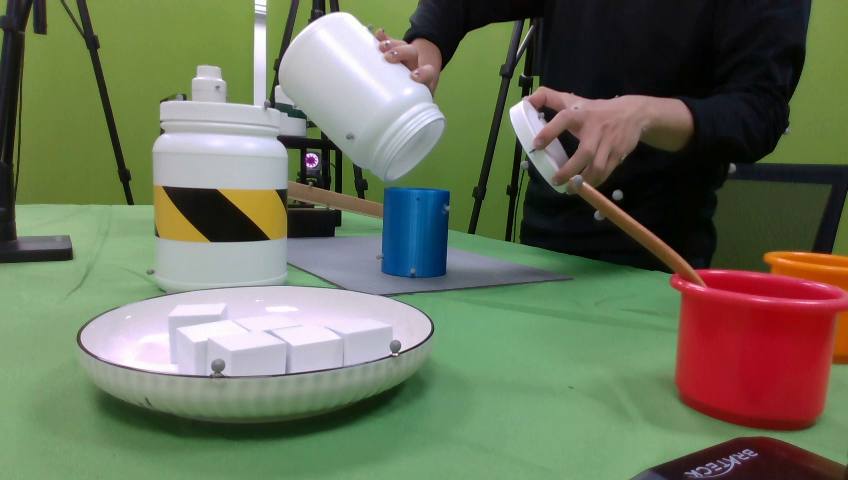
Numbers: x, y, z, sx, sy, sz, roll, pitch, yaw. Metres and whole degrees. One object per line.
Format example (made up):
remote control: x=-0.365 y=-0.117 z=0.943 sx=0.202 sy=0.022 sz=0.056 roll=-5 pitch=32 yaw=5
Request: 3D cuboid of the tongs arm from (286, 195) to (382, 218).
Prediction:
tongs arm: x=-0.165 y=-0.074 z=1.216 sx=0.389 sy=0.027 sz=0.028 roll=11 pitch=-6 yaw=-24

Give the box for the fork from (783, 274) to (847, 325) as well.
fork: x=0.332 y=0.018 z=0.443 sx=0.028 sy=0.018 sz=0.207 roll=-1 pitch=-36 yaw=-15

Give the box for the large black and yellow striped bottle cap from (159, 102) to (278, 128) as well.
large black and yellow striped bottle cap: x=-0.207 y=-0.125 z=0.615 sx=0.115 sy=0.019 sz=0.115 roll=2 pitch=6 yaw=0

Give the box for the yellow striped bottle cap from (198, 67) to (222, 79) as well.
yellow striped bottle cap: x=-0.412 y=-0.320 z=1.162 sx=0.044 sy=0.018 sz=0.044 roll=0 pitch=5 yaw=0

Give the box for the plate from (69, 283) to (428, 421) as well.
plate: x=-0.102 y=0.066 z=0.380 sx=0.208 sy=0.039 sz=0.207 roll=2 pitch=7 yaw=0

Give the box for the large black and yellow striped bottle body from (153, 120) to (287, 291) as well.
large black and yellow striped bottle body: x=-0.208 y=-0.042 z=0.626 sx=0.131 sy=0.184 sz=0.130 roll=2 pitch=7 yaw=0

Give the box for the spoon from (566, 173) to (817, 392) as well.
spoon: x=0.161 y=0.024 z=0.370 sx=0.193 sy=0.021 sz=0.042 roll=47 pitch=17 yaw=3

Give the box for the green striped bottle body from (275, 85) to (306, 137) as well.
green striped bottle body: x=-0.269 y=-0.269 z=1.221 sx=0.063 sy=0.119 sz=0.063 roll=2 pitch=7 yaw=0

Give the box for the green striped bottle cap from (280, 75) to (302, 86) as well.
green striped bottle cap: x=-0.267 y=-0.320 z=1.216 sx=0.044 sy=0.020 sz=0.044 roll=4 pitch=9 yaw=0

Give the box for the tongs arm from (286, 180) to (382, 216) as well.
tongs arm: x=-0.122 y=-0.066 z=1.147 sx=0.387 sy=0.026 sz=0.050 roll=11 pitch=-2 yaw=-37

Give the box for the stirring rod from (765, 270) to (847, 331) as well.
stirring rod: x=0.352 y=0.020 z=0.484 sx=0.176 sy=0.006 sz=0.014 roll=-40 pitch=-7 yaw=13

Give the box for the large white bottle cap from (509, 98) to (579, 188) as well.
large white bottle cap: x=0.137 y=-0.111 z=0.688 sx=0.018 sy=0.114 sz=0.115 roll=-35 pitch=-10 yaw=26

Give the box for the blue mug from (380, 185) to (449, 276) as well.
blue mug: x=-0.018 y=-0.016 z=0.764 sx=0.083 sy=0.106 sz=0.116 roll=-1 pitch=8 yaw=-25

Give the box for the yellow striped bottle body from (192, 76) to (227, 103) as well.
yellow striped bottle body: x=-0.414 y=-0.268 z=1.169 sx=0.063 sy=0.120 sz=0.063 roll=2 pitch=7 yaw=0

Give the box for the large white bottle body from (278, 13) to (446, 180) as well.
large white bottle body: x=-0.074 y=-0.174 z=0.751 sx=0.184 sy=0.130 sz=0.131 roll=45 pitch=18 yaw=9
